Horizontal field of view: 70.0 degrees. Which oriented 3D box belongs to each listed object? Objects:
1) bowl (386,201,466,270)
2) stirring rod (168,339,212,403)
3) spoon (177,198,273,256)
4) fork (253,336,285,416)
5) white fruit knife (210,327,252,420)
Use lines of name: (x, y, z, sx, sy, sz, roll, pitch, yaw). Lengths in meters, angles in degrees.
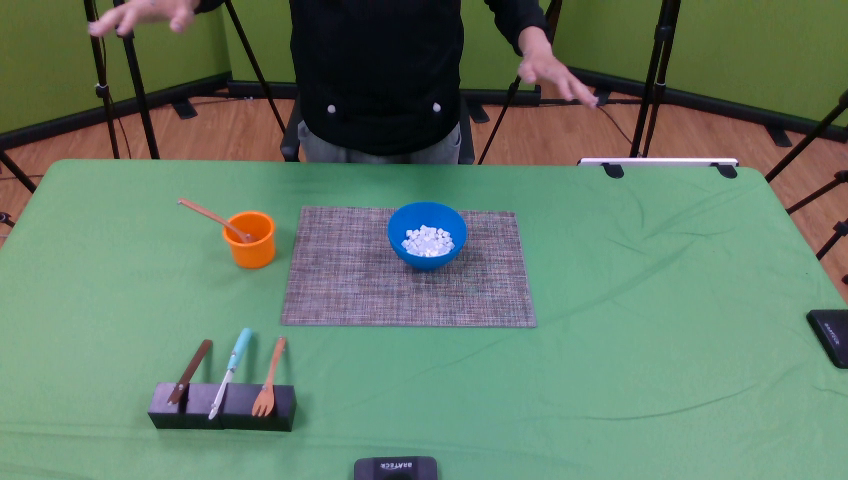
bowl: (0.002, 0.004, 1.150, 0.151, 0.077, 0.150, 2, 46, -2)
stirring rod: (-0.360, 0.199, 0.939, 0.014, 0.006, 0.175, 9, 20, -6)
spoon: (-0.361, -0.025, 1.107, 0.021, 0.195, 0.041, -31, 37, 29)
fork: (-0.235, 0.206, 0.938, 0.028, 0.019, 0.206, -2, 26, -3)
white fruit knife: (-0.298, 0.200, 0.937, 0.016, 0.027, 0.206, -1, 30, 0)
